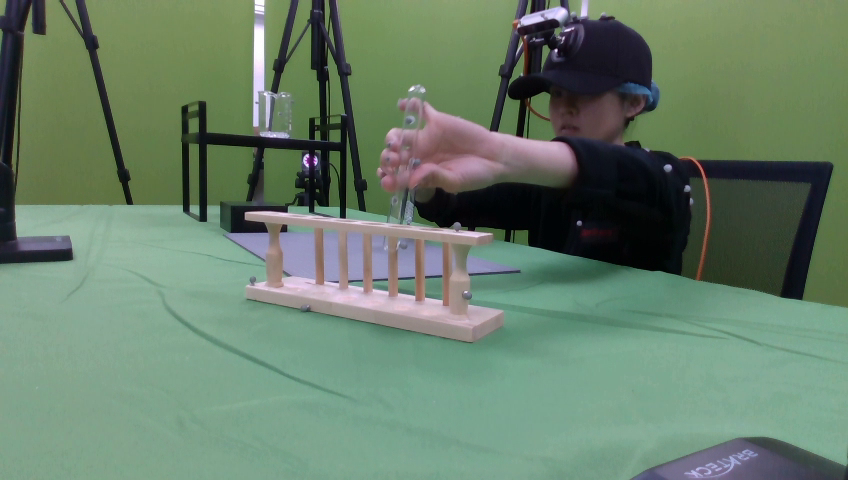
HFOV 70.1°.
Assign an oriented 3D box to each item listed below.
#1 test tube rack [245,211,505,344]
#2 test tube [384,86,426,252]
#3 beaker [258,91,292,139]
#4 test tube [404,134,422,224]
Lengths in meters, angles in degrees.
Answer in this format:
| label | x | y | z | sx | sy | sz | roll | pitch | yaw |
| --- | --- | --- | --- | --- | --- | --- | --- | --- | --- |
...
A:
| label | x | y | z | sx | sy | sz | roll | pitch | yaw |
| --- | --- | --- | --- | --- | --- | --- | --- | --- | --- |
| test tube rack | -0.049 | 0.024 | 0.547 | 0.241 | 0.085 | 0.067 | 7 | 8 | 29 |
| test tube | -0.017 | -0.062 | 0.541 | 0.017 | 0.150 | 0.017 | 9 | 11 | -2 |
| beaker | -0.331 | -0.276 | 1.343 | 0.074 | 0.100 | 0.083 | 0 | 8 | -20 |
| test tube | -0.018 | -0.097 | 0.985 | 0.017 | 0.150 | 0.017 | 6 | 20 | -2 |
